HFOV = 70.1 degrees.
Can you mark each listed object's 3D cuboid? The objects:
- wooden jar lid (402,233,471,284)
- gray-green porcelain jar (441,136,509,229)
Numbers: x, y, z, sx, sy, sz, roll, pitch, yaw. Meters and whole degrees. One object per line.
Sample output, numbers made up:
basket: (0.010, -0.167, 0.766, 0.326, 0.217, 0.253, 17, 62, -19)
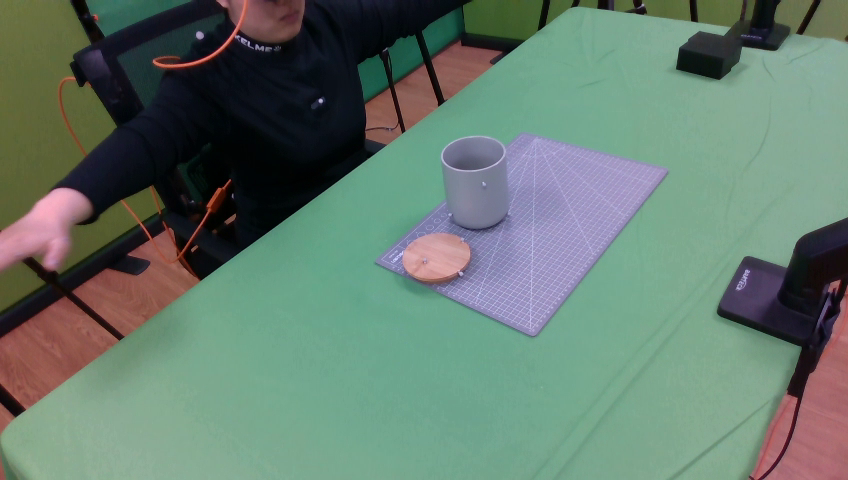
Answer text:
wooden jar lid: (0.020, 0.030, 0.941, 0.108, 0.021, 0.108, -4, 40, 4)
gray-green porcelain jar: (0.086, -0.090, 0.988, 0.106, 0.127, 0.105, -5, 40, 5)
